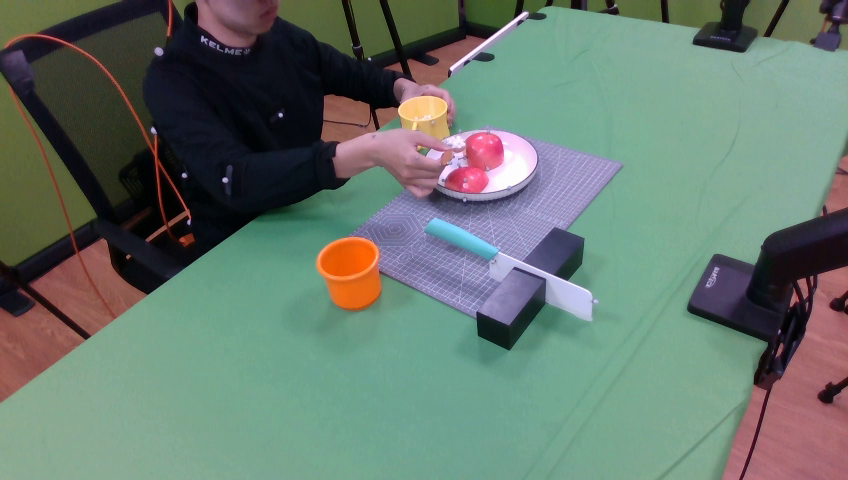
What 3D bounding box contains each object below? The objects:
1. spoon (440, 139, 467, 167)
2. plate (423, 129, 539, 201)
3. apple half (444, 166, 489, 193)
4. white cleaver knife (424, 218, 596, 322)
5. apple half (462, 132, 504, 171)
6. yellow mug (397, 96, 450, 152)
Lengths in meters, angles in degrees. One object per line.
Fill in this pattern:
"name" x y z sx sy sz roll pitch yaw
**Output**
"spoon" 0.042 -0.143 0.986 0.041 0.021 0.194 0 16 10
"plate" 0.103 -0.132 1.093 0.209 0.038 0.208 -4 40 4
"apple half" 0.074 -0.113 1.063 0.081 0.033 0.081 -6 39 6
"white cleaver knife" 0.114 0.042 0.865 0.284 0.066 0.021 27 47 28
"apple half" 0.109 -0.170 1.110 0.075 0.053 0.080 -6 40 -2
"yellow mug" -0.004 -0.226 1.200 0.099 0.064 0.130 5 43 16
